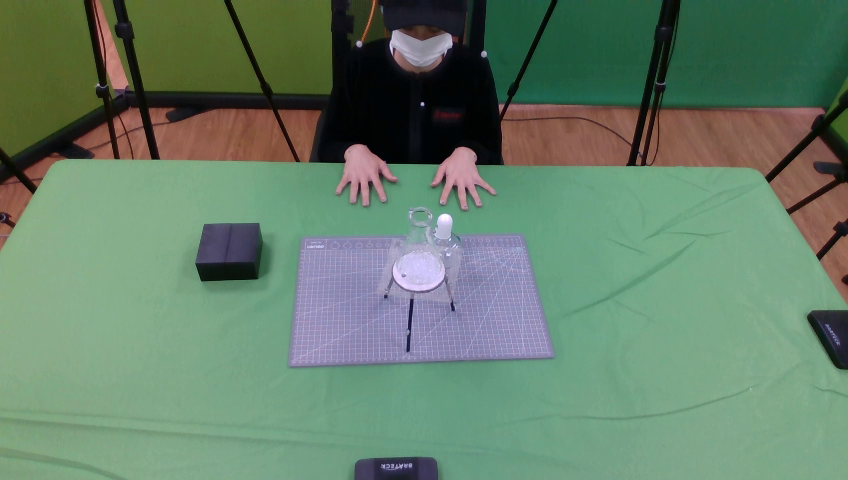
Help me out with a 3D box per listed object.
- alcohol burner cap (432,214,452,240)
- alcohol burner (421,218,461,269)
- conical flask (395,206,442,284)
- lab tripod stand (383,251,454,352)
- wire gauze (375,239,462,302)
[{"bbox_3d":[0.035,-0.027,1.110,0.034,0.048,0.033,7,42,-6],"label":"alcohol burner cap"},{"bbox_3d":[0.033,-0.001,1.135,0.078,0.119,0.077,3,48,-3],"label":"alcohol burner"},{"bbox_3d":[-0.007,0.005,0.937,0.075,0.122,0.075,2,45,-1],"label":"conical flask"},{"bbox_3d":[-0.015,0.094,1.025,0.148,0.132,0.147,1,46,-1],"label":"lab tripod stand"},{"bbox_3d":[-0.006,0.049,0.978,0.121,0.011,0.124,10,44,5],"label":"wire gauze"}]
